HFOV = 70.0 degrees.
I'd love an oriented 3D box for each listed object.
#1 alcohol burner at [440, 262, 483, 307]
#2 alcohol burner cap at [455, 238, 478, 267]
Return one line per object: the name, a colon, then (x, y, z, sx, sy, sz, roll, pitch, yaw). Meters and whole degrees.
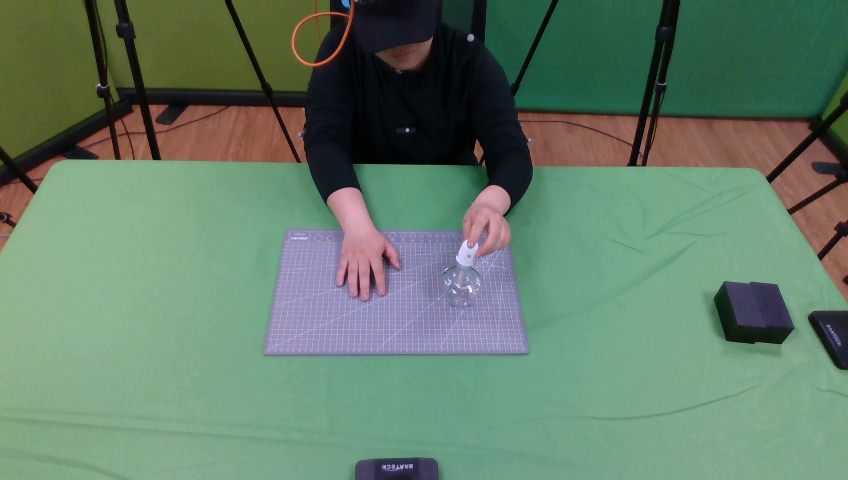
alcohol burner: (0.068, 0.064, 1.076, 0.078, 0.120, 0.077, 1, 45, -1)
alcohol burner cap: (0.075, 0.018, 1.033, 0.034, 0.048, 0.033, 12, 38, -9)
